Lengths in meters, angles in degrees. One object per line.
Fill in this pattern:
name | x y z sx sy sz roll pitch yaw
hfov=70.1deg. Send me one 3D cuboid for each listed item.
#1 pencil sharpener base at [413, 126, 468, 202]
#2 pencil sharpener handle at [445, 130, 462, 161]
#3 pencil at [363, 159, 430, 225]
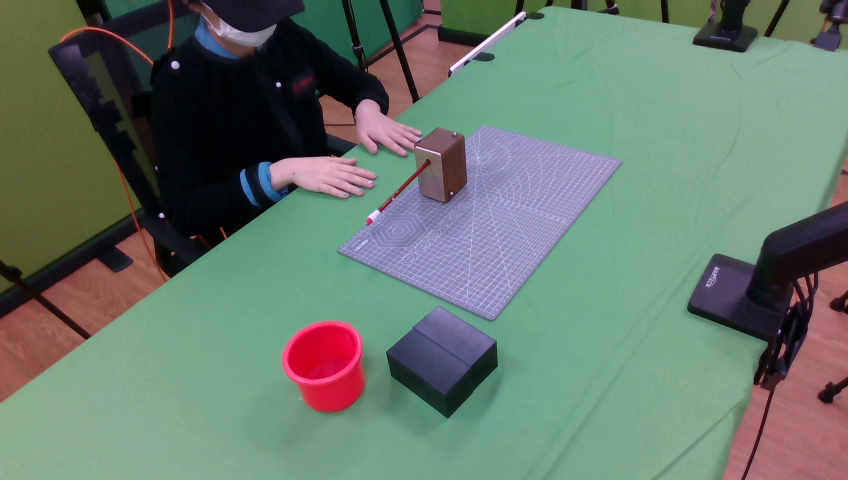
pencil sharpener base | 0.032 -0.132 1.047 0.061 0.107 0.077 21 48 30
pencil sharpener handle | 0.057 -0.172 1.071 0.036 0.068 0.031 32 52 19
pencil | -0.033 -0.088 0.978 0.012 0.012 0.194 24 57 32
